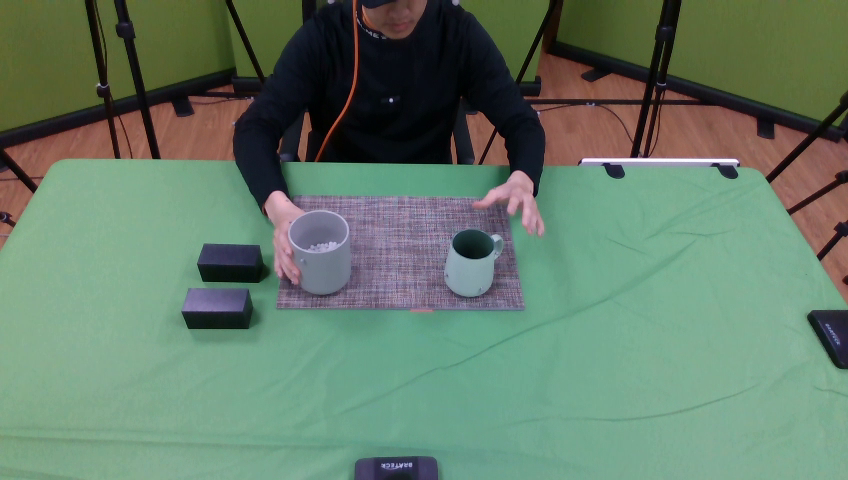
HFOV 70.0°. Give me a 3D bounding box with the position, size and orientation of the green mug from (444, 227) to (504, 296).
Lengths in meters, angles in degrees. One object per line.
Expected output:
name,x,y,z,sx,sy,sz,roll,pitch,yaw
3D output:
green mug,0.097,0.033,1.110,0.125,0.105,0.092,-31,55,-29

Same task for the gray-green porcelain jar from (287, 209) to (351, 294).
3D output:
gray-green porcelain jar,-0.184,0.026,1.080,0.106,0.127,0.105,2,47,-2
